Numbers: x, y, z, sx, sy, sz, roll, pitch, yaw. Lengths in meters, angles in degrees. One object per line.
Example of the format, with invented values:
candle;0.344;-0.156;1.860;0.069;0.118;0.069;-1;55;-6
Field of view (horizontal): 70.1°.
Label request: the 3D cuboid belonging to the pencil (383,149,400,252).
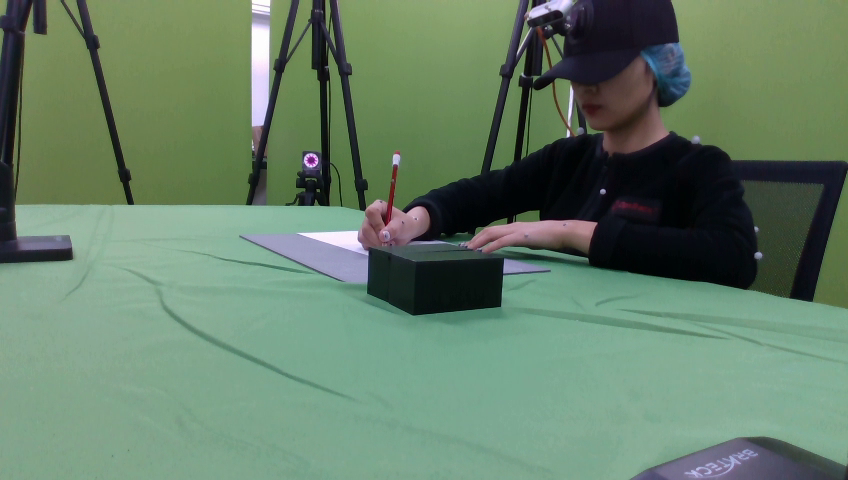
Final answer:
pencil;-0.050;-0.064;0.928;0.012;0.193;0.012;4;-32;3
